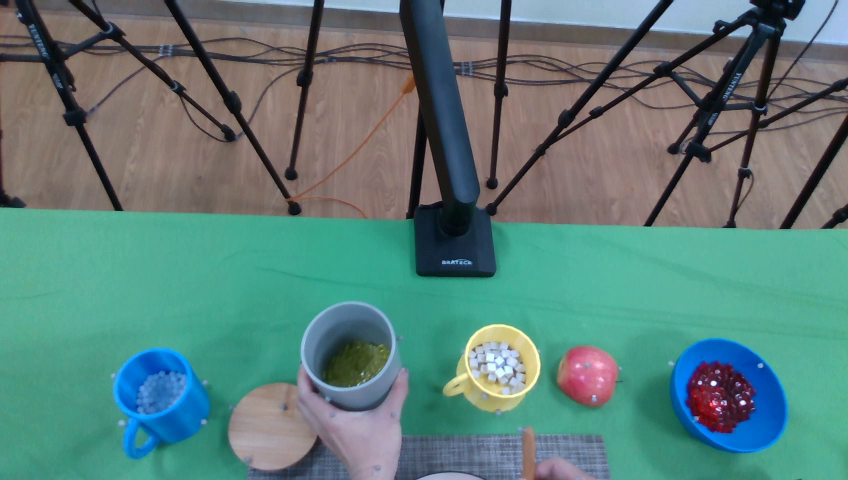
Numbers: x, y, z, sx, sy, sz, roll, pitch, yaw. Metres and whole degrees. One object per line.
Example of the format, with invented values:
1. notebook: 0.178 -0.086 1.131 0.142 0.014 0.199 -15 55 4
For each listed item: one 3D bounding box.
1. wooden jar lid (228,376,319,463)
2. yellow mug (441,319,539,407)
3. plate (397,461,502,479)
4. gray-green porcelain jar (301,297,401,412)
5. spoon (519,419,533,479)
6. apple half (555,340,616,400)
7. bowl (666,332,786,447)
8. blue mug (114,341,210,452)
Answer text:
1. wooden jar lid: -0.184 0.223 0.749 0.108 0.021 0.107 4 56 -5
2. yellow mug: 0.081 0.167 0.795 0.131 0.064 0.099 -20 64 -18
3. plate: 0.030 0.361 0.686 0.208 0.039 0.206 4 60 -6
4. gray-green porcelain jar: -0.082 0.141 0.719 0.106 0.127 0.105 -1 60 1
5. spoon: 0.106 0.281 0.638 0.041 0.194 0.021 4 14 18
6. apple half: 0.222 0.170 0.821 0.074 0.054 0.080 20 59 7
7. bowl: 0.386 0.206 0.808 0.151 0.077 0.150 3 60 -5
8. blue mug: -0.309 0.189 0.703 0.082 0.106 0.116 20 59 4
